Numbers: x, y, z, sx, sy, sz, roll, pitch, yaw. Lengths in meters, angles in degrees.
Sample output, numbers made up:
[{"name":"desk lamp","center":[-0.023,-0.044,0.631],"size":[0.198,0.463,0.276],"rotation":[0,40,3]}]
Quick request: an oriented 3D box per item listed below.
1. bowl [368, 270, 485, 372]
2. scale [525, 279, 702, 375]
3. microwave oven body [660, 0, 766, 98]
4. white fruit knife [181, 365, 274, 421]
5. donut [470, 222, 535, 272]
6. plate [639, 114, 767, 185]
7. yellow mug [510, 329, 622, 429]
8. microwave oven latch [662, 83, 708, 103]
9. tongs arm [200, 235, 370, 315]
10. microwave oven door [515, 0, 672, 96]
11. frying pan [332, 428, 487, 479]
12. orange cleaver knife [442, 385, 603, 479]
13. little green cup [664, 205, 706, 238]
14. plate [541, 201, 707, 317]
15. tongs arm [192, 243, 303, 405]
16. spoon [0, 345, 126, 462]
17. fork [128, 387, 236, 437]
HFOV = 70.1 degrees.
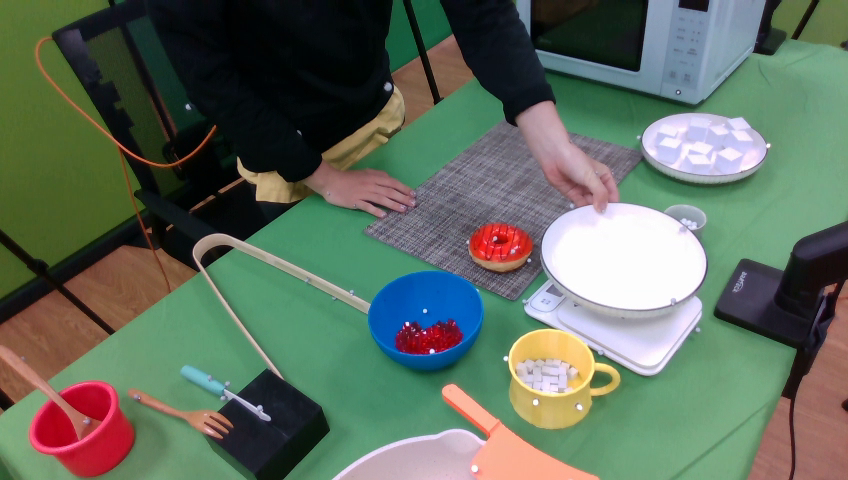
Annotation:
[{"name":"bowl","center":[0.007,0.118,0.791],"size":[0.151,0.077,0.150],"rotation":[-5,40,4]},{"name":"scale","center":[0.254,0.091,0.821],"size":[0.199,0.032,0.149],"rotation":[27,51,35]},{"name":"microwave oven body","center":[0.472,-0.513,1.317],"size":[0.438,0.261,0.327],"rotation":[26,51,34]},{"name":"white fruit knife","center":[-0.245,0.188,0.747],"size":[0.205,0.027,0.016],"rotation":[9,40,41]},{"name":"donut","center":[0.119,0.009,0.923],"size":[0.099,0.048,0.098],"rotation":[-3,38,3]},{"name":"plate","center":[0.489,-0.157,1.074],"size":[0.207,0.039,0.206],"rotation":[-4,40,4]},{"name":"yellow mug","center":[0.169,0.164,0.721],"size":[0.130,0.064,0.099],"rotation":[0,40,8]},{"name":"microwave oven latch","center":[0.518,-0.296,1.204],"size":[0.078,0.029,0.030],"rotation":[27,52,35]},{"name":"tongs arm","center":[-0.209,0.062,0.924],"size":[0.381,0.027,0.051],"rotation":[23,54,32]},{"name":"microwave oven door","center":[0.343,-0.455,1.259],"size":[0.353,0.245,0.039],"rotation":[26,51,33]},{"name":"frying pan","center":[-0.089,0.306,0.564],"size":[0.487,0.103,0.306],"rotation":[10,41,7]},{"name":"orange cleaver knife","center":[0.086,0.219,0.612],"size":[0.209,0.012,0.077],"rotation":[28,49,35]},{"name":"little green cup","center":[0.396,-0.021,0.926],"size":[0.061,0.039,0.061],"rotation":[-3,40,3]},{"name":"plate","center":[0.258,0.026,0.794],"size":[0.209,0.038,0.208],"rotation":[-2,41,3]},{"name":"tongs arm","center":[-0.268,0.110,0.884],"size":[0.028,0.028,0.384],"rotation":[-36,47,-17]},{"name":"spoon","center":[-0.434,0.192,0.720],"size":[0.194,0.021,0.042],"rotation":[47,53,-7]},{"name":"fork","center":[-0.305,0.208,0.744],"size":[0.206,0.019,0.028],"rotation":[3,41,36]}]
